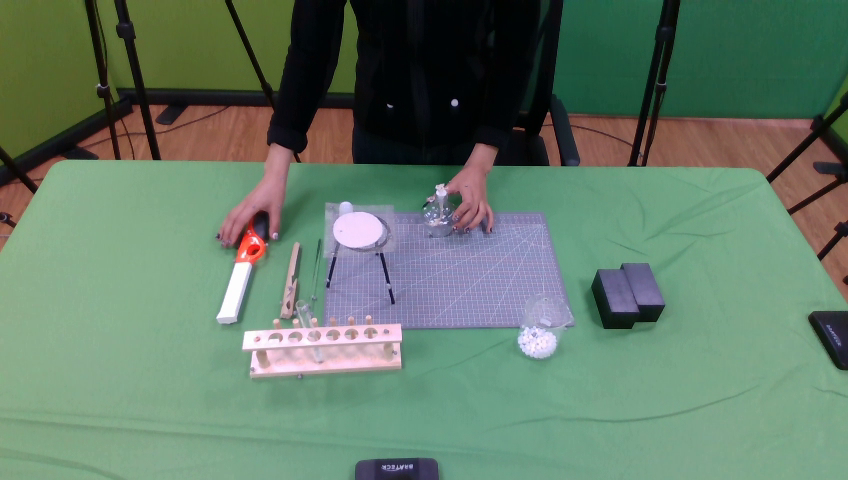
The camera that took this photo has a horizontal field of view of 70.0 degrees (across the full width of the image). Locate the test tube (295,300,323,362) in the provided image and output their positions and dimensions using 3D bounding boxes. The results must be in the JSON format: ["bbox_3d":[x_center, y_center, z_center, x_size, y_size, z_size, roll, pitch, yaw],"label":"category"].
[{"bbox_3d":[-0.176,0.143,0.935,0.017,0.151,0.017,-2,46,2],"label":"test tube"}]

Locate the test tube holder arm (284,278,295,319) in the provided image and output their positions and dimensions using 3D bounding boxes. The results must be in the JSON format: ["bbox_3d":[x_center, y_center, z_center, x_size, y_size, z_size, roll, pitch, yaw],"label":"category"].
[{"bbox_3d":[-0.242,0.103,1.085,0.010,0.015,0.087,28,37,-29],"label":"test tube holder arm"}]

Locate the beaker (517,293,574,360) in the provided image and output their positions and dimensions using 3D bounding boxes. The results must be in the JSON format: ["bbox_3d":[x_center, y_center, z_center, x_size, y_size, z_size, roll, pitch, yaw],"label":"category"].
[{"bbox_3d":[0.200,0.149,1.018,0.084,0.101,0.073,14,47,8],"label":"beaker"}]

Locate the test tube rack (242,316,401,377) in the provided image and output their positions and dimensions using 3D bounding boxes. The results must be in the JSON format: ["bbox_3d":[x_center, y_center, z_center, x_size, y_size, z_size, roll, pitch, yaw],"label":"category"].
[{"bbox_3d":[-0.161,0.166,0.983,0.242,0.085,0.066,-2,46,-6],"label":"test tube rack"}]

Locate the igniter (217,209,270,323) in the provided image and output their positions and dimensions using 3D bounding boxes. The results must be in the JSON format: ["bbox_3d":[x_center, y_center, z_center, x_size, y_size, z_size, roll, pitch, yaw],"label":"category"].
[{"bbox_3d":[-0.335,0.039,1.132,0.057,0.025,0.275,-3,46,6],"label":"igniter"}]

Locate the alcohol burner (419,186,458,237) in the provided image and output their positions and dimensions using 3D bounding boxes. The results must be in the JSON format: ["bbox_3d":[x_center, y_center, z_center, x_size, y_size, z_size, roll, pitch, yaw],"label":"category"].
[{"bbox_3d":[0.030,-0.063,1.196,0.078,0.119,0.077,3,48,-3],"label":"alcohol burner"}]

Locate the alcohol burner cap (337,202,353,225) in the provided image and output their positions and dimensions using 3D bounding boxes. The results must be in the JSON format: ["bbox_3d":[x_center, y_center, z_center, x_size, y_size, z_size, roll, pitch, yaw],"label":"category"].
[{"bbox_3d":[-0.161,-0.056,1.223,0.034,0.048,0.033,2,46,-2],"label":"alcohol burner cap"}]

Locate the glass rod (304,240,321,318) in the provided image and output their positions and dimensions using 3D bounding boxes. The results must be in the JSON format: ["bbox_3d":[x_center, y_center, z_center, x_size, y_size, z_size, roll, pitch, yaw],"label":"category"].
[{"bbox_3d":[-0.207,0.068,1.128,0.008,0.008,0.198,2,43,-2],"label":"glass rod"}]

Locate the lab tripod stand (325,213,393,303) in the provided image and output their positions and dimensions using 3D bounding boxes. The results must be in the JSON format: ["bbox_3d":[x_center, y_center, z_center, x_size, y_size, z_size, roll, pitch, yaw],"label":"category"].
[{"bbox_3d":[-0.104,0.031,1.080,0.148,0.132,0.147,4,45,-4],"label":"lab tripod stand"}]

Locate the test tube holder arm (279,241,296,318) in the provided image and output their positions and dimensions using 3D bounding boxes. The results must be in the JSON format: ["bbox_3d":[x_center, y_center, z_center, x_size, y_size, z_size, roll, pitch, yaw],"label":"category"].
[{"bbox_3d":[-0.250,0.068,1.113,0.013,0.015,0.177,27,38,-30],"label":"test tube holder arm"}]

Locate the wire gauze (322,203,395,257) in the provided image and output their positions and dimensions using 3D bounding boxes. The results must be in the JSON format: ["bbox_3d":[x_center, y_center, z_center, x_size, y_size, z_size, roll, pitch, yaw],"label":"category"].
[{"bbox_3d":[-0.111,-0.020,1.035,0.121,0.011,0.124,0,47,-7],"label":"wire gauze"}]
